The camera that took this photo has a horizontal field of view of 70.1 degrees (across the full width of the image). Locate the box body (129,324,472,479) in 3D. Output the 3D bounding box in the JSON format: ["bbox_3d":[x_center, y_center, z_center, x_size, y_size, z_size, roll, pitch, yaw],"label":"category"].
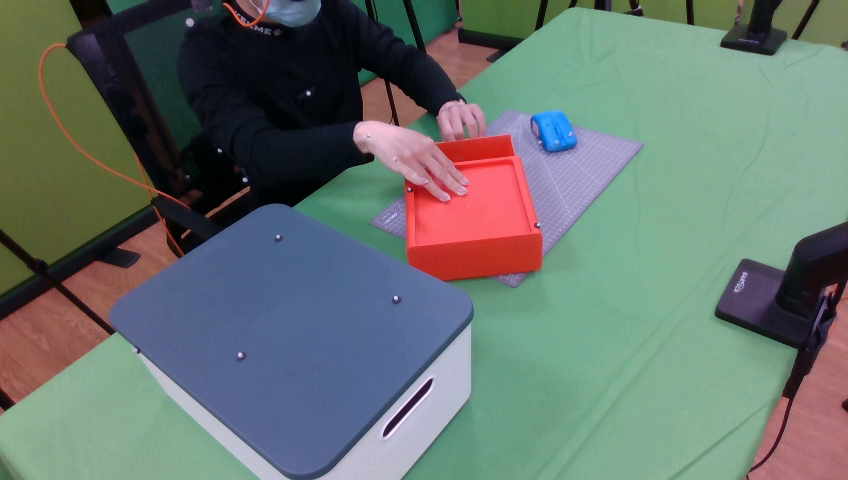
[{"bbox_3d":[-0.147,0.136,0.726,0.361,0.161,0.255,25,50,32],"label":"box body"}]

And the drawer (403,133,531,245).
[{"bbox_3d":[0.066,-0.089,1.016,0.194,0.073,0.210,-6,40,0],"label":"drawer"}]

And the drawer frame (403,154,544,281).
[{"bbox_3d":[0.071,-0.040,0.959,0.202,0.083,0.212,-6,41,1],"label":"drawer frame"}]

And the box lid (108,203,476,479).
[{"bbox_3d":[-0.156,0.079,0.678,0.368,0.015,0.264,24,49,32],"label":"box lid"}]

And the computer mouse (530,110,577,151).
[{"bbox_3d":[0.250,-0.216,1.173,0.063,0.041,0.116,-10,45,-6],"label":"computer mouse"}]
